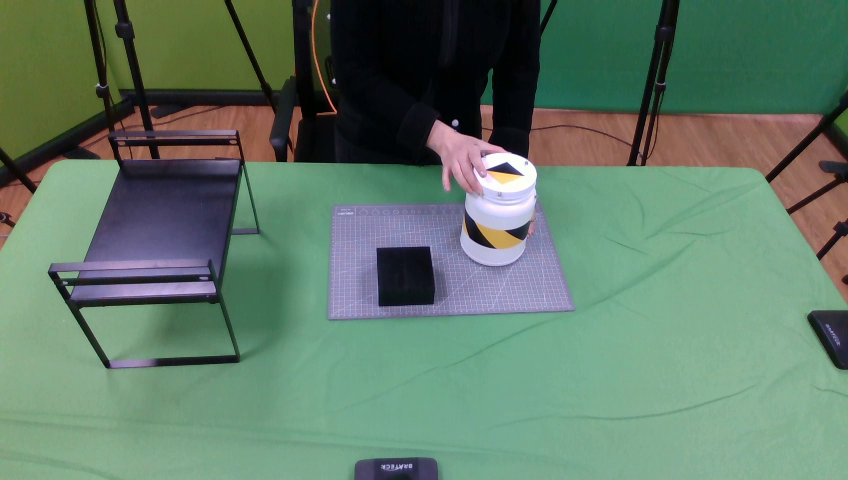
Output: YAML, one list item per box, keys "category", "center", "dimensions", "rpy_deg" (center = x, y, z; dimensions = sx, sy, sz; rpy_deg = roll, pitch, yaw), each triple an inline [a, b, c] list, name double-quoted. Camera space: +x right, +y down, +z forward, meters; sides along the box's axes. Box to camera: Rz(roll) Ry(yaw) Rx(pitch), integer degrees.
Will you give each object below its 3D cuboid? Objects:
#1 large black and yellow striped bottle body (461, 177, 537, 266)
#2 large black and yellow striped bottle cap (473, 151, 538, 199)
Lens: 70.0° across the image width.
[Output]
- category: "large black and yellow striped bottle body"
  center: [0.142, -0.055, 1.143]
  dimensions: [0.131, 0.185, 0.130]
  rpy_deg: [1, 47, -1]
- category: "large black and yellow striped bottle cap"
  center: [0.145, -0.117, 1.079]
  dimensions: [0.115, 0.019, 0.114]
  rpy_deg: [0, 46, 0]
